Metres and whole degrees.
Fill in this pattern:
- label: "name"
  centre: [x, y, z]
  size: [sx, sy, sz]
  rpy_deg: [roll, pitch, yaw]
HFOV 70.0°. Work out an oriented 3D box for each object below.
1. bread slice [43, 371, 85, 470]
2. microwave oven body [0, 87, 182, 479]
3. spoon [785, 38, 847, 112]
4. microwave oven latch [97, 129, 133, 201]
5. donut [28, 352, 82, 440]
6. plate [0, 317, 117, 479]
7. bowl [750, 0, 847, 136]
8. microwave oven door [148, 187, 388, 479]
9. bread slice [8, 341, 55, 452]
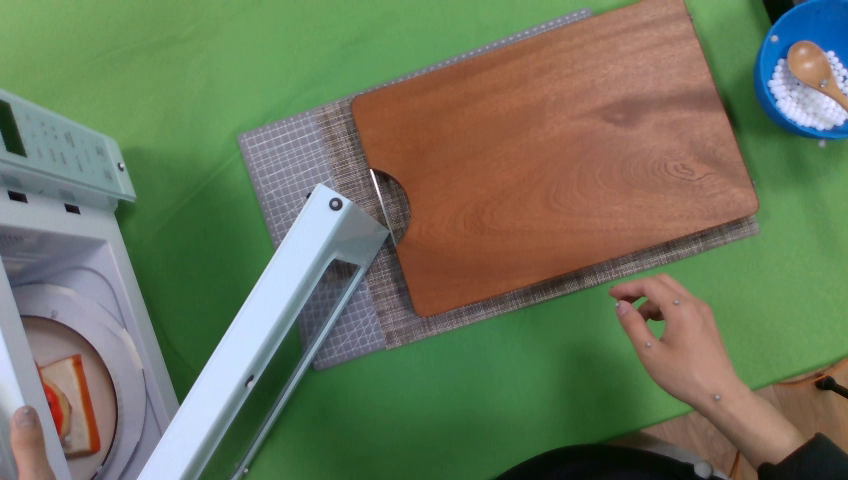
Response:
- label: "bread slice"
  centre: [-0.433, 0.189, 0.645]
  size: [0.131, 0.019, 0.104]
  rpy_deg: [3, 87, 3]
- label: "microwave oven body"
  centre: [-0.450, 0.123, 0.600]
  size: [0.326, 0.260, 0.440]
  rpy_deg: [-21, 86, 1]
- label: "spoon"
  centre: [0.439, -0.137, 0.629]
  size: [0.041, 0.022, 0.192]
  rpy_deg: [-20, 62, 0]
- label: "microwave oven latch"
  centre: [-0.368, -0.087, 0.705]
  size: [0.030, 0.029, 0.079]
  rpy_deg: [-21, 86, 1]
- label: "donut"
  centre: [-0.404, 0.164, 0.623]
  size: [0.099, 0.048, 0.098]
  rpy_deg: [0, 82, 3]
- label: "plate"
  centre: [-0.427, 0.186, 0.643]
  size: [0.208, 0.039, 0.207]
  rpy_deg: [0, 85, -1]
- label: "bowl"
  centre: [0.424, -0.180, 0.663]
  size: [0.151, 0.077, 0.151]
  rpy_deg: [0, 87, 3]
- label: "microwave oven door"
  centre: [-0.152, 0.121, 0.579]
  size: [0.039, 0.244, 0.355]
  rpy_deg: [30, 88, 6]
- label: "bread slice"
  centre: [-0.423, 0.168, 0.583]
  size: [0.134, 0.018, 0.107]
  rpy_deg: [-22, 87, 13]
